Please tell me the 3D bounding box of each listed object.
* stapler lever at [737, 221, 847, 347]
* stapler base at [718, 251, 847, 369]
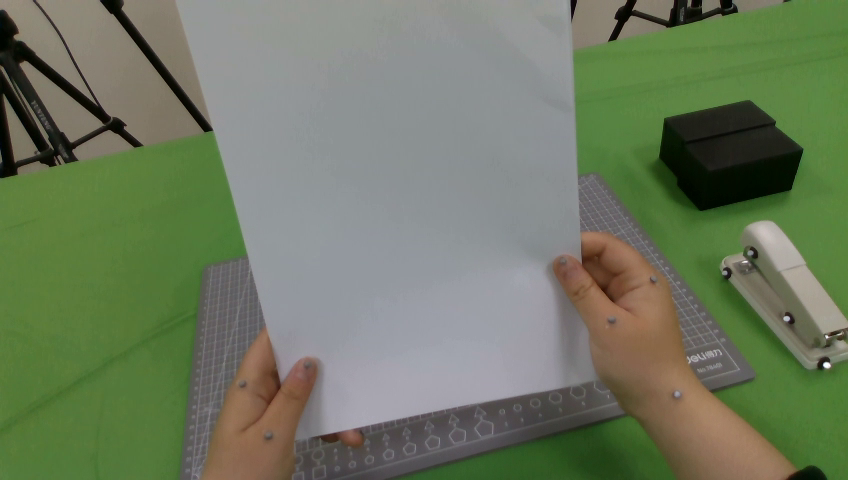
[{"bbox_3d":[0.298,0.030,0.491,0.027,0.040,0.116,-16,43,-3],"label":"stapler lever"},{"bbox_3d":[0.300,0.048,0.509,0.041,0.025,0.129,-16,42,-3],"label":"stapler base"}]
